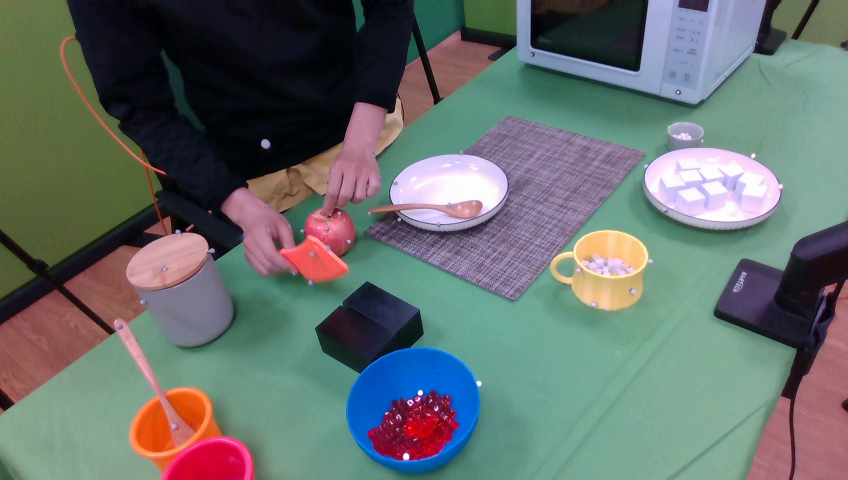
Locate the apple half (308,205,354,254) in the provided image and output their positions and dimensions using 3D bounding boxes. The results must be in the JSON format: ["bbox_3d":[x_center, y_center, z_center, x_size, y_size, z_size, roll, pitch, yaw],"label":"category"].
[{"bbox_3d":[-0.144,-0.022,0.978,0.080,0.075,0.053,19,46,32],"label":"apple half"}]

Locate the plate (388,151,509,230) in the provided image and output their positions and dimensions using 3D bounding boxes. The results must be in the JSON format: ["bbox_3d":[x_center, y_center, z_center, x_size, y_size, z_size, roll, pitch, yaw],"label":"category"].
[{"bbox_3d":[0.044,-0.082,1.042,0.209,0.038,0.208,-4,40,4],"label":"plate"}]

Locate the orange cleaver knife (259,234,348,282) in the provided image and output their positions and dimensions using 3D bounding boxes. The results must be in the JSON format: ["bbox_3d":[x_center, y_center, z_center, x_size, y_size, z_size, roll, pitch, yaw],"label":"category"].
[{"bbox_3d":[-0.174,0.031,0.853,0.210,0.077,0.012,-9,35,53],"label":"orange cleaver knife"}]

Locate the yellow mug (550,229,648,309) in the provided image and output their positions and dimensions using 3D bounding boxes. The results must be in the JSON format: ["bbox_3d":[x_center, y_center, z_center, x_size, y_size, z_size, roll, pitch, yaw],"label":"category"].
[{"bbox_3d":[0.245,0.040,0.857,0.130,0.064,0.099,1,42,11],"label":"yellow mug"}]

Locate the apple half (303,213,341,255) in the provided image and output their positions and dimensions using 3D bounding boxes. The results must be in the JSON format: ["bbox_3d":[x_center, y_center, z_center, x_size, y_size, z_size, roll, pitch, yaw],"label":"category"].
[{"bbox_3d":[-0.167,0.000,0.954,0.080,0.081,0.033,22,45,30],"label":"apple half"}]

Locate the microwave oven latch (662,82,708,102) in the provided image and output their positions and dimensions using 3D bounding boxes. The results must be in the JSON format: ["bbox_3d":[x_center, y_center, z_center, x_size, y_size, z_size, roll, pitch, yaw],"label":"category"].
[{"bbox_3d":[0.517,-0.298,1.203,0.078,0.029,0.030,28,52,35],"label":"microwave oven latch"}]

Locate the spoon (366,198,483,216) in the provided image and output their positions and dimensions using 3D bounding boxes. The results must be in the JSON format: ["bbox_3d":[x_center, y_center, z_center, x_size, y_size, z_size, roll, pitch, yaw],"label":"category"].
[{"bbox_3d":[0.001,-0.056,0.997,0.194,0.022,0.041,1,51,-9],"label":"spoon"}]

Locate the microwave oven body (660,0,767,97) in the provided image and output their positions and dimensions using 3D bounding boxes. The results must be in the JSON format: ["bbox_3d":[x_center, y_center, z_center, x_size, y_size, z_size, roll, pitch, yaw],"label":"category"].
[{"bbox_3d":[0.473,-0.517,1.314,0.438,0.261,0.327,26,51,34],"label":"microwave oven body"}]

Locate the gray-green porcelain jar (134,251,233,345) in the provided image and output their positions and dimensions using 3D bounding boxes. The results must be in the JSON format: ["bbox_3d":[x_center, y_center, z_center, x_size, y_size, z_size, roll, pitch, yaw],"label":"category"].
[{"bbox_3d":[-0.334,0.076,0.849,0.106,0.127,0.105,-4,41,4],"label":"gray-green porcelain jar"}]

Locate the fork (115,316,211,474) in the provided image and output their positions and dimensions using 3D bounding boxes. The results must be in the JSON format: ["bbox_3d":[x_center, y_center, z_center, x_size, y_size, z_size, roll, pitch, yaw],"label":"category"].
[{"bbox_3d":[-0.308,0.179,0.708,0.028,0.018,0.207,-30,89,-23],"label":"fork"}]

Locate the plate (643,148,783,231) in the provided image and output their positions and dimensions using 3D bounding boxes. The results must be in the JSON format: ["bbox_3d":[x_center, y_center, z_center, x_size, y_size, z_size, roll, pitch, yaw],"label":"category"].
[{"bbox_3d":[0.464,-0.079,0.986,0.207,0.039,0.206,-4,40,4],"label":"plate"}]

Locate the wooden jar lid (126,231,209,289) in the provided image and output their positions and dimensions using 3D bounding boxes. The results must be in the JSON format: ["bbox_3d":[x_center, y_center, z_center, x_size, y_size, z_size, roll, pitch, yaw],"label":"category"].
[{"bbox_3d":[-0.340,0.030,0.808,0.108,0.021,0.108,-5,39,5],"label":"wooden jar lid"}]

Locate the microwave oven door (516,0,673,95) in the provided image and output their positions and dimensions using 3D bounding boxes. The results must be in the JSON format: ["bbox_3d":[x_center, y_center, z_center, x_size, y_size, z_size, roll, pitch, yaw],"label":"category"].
[{"bbox_3d":[0.344,-0.458,1.256,0.353,0.245,0.039,26,51,33],"label":"microwave oven door"}]

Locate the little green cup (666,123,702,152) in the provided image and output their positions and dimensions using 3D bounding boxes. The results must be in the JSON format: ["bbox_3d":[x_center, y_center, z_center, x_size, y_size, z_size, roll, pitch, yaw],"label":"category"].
[{"bbox_3d":[0.472,-0.183,1.103,0.061,0.039,0.061,-5,40,5],"label":"little green cup"}]

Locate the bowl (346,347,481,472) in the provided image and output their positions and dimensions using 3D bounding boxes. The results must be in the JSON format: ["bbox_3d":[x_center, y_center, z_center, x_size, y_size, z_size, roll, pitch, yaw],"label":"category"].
[{"bbox_3d":[-0.008,0.205,0.691,0.151,0.077,0.150,-4,40,4],"label":"bowl"}]
